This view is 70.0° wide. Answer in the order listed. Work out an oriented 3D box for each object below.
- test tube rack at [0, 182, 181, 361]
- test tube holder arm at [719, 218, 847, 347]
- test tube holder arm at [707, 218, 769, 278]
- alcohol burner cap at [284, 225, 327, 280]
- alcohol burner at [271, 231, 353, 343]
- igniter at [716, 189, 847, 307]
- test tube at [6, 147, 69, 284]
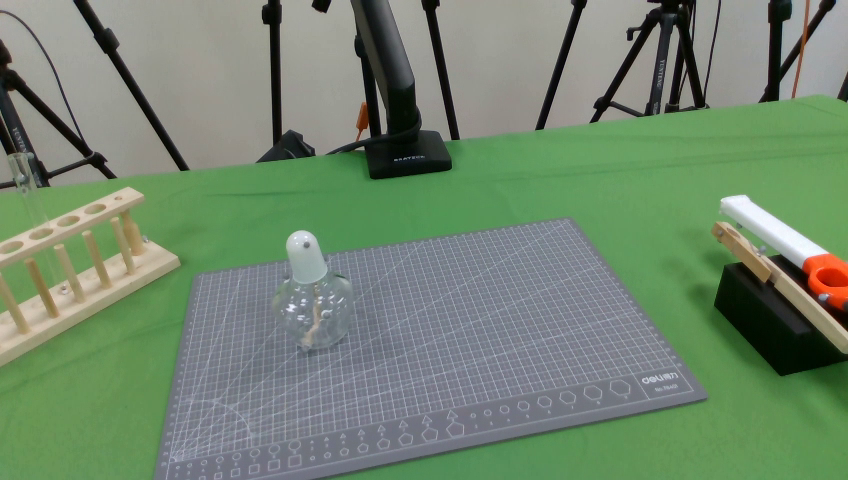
[{"bbox_3d":[-0.384,0.035,0.620,0.066,0.086,0.242,23,42,32],"label":"test tube rack"},{"bbox_3d":[0.317,0.031,0.545,0.013,0.015,0.176,-4,34,-13],"label":"test tube holder arm"},{"bbox_3d":[0.301,0.006,0.579,0.010,0.015,0.087,-4,34,-12],"label":"test tube holder arm"},{"bbox_3d":[-0.108,0.009,0.543,0.034,0.048,0.033,-4,37,4],"label":"alcohol burner cap"},{"bbox_3d":[-0.106,0.038,0.563,0.078,0.120,0.077,-1,36,1],"label":"alcohol burner"},{"bbox_3d":[0.360,0.021,0.548,0.057,0.025,0.273,-10,32,-8],"label":"igniter"},{"bbox_3d":[-0.389,-0.021,0.613,0.017,0.151,0.017,-1,28,1],"label":"test tube"}]
